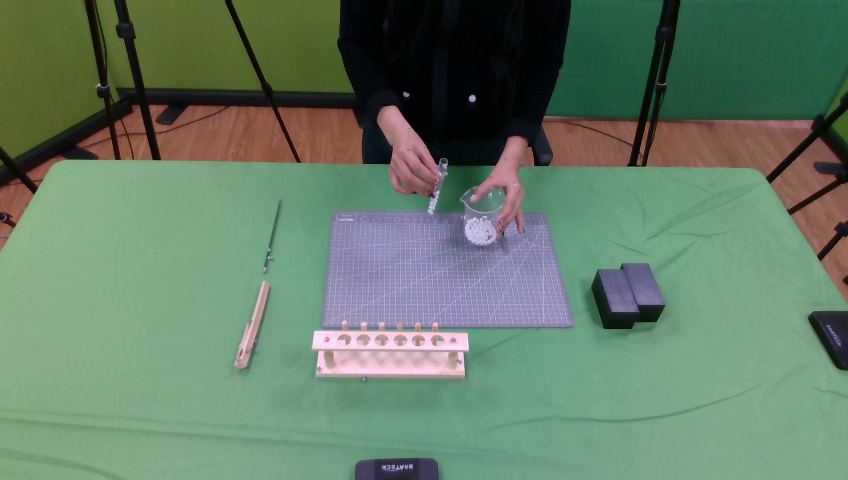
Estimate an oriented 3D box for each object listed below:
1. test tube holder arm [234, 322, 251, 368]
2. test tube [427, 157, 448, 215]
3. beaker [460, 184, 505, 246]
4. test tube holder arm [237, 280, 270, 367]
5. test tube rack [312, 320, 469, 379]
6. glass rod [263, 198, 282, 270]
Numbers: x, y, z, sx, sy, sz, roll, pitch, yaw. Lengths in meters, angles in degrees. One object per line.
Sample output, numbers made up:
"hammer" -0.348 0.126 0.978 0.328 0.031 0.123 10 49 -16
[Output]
"test tube holder arm" -0.299 0.173 1.013 0.010 0.015 0.087 -17 41 22
"test tube" 0.023 -0.094 1.101 0.017 0.151 0.017 5 54 -7
"beaker" 0.109 -0.045 1.157 0.084 0.101 0.073 5 48 6
"test tube holder arm" -0.291 0.140 1.042 0.013 0.015 0.177 -17 41 22
"test tube rack" -0.054 0.173 0.984 0.242 0.085 0.066 1 46 -3
"glass rod" -0.299 -0.017 1.202 0.008 0.008 0.198 1 46 -2
